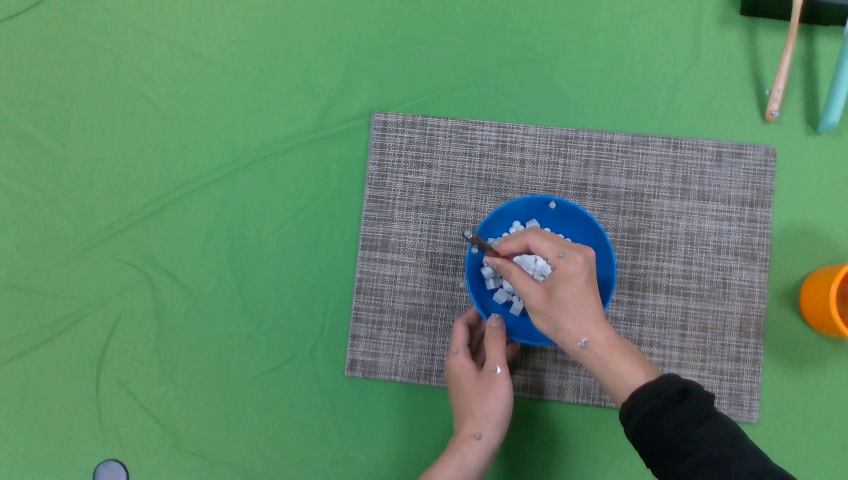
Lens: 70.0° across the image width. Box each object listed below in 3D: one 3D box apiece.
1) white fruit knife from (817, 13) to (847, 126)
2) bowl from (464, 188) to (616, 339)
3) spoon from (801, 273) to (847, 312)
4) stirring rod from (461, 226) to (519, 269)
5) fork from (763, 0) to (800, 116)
[{"bbox_3d":[0.449,-0.225,0.635,0.016,0.027,0.208,7,103,0],"label":"white fruit knife"},{"bbox_3d":[0.116,0.026,0.634,0.151,0.077,0.151,0,86,3],"label":"bowl"},{"bbox_3d":[0.477,0.059,0.586,0.022,0.192,0.041,10,86,-41],"label":"spoon"},{"bbox_3d":[0.066,0.010,0.573,0.014,0.177,0.006,5,79,22],"label":"stirring rod"},{"bbox_3d":[0.387,-0.236,0.639,0.028,0.018,0.208,3,106,0],"label":"fork"}]
